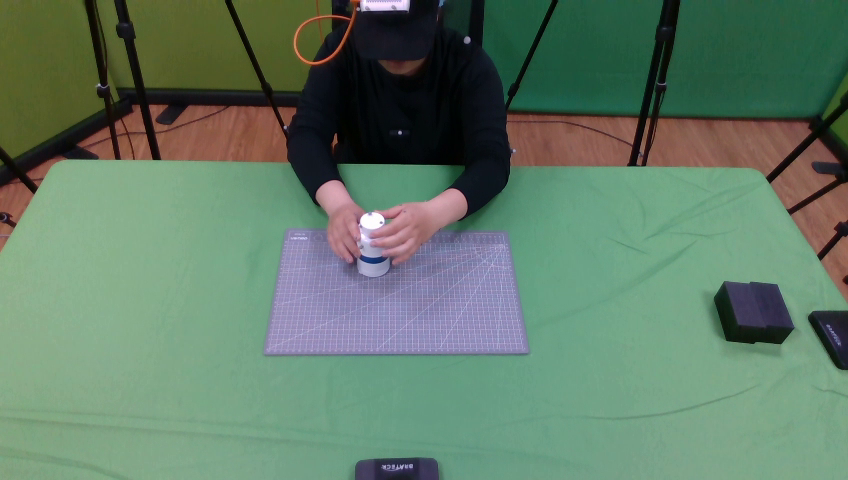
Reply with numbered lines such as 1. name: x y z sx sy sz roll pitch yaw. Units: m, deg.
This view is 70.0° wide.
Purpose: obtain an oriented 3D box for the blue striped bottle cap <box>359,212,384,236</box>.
1. blue striped bottle cap: -0.093 -0.028 1.074 0.044 0.021 0.044 3 45 -3

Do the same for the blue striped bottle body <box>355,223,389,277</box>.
1. blue striped bottle body: -0.095 0.008 1.111 0.063 0.121 0.062 2 46 -2
